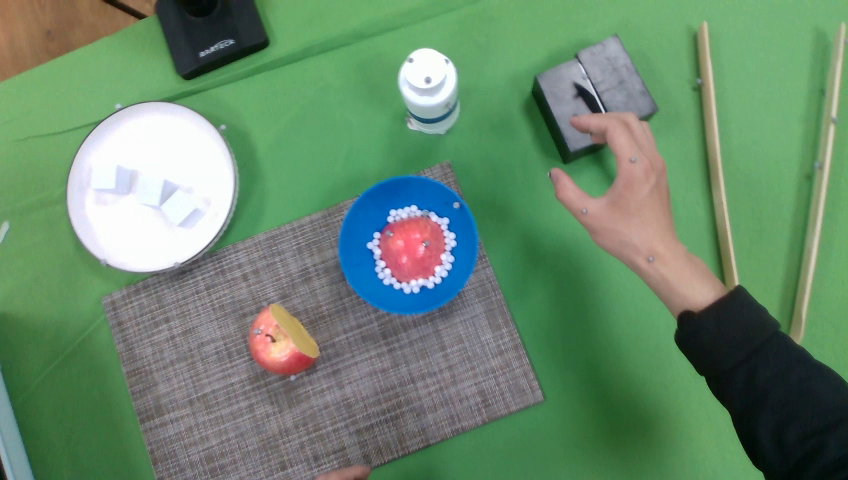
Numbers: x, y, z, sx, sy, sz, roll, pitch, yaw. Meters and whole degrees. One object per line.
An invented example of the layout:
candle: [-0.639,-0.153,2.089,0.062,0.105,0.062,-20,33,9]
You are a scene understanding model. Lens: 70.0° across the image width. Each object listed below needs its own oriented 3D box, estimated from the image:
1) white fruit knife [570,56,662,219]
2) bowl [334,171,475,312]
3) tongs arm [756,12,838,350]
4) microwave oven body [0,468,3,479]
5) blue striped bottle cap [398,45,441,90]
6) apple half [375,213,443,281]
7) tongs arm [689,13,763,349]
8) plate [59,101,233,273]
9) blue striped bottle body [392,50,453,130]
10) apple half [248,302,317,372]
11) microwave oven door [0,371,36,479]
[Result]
white fruit knife: [0.211,-0.110,0.669,0.016,0.027,0.208,-29,99,18]
bowl: [-0.018,0.006,0.673,0.151,0.077,0.151,-1,83,5]
tongs arm: [0.416,-0.067,0.675,0.050,0.026,0.384,7,85,7]
microwave oven body: [-0.604,0.323,0.588,0.326,0.261,0.440,-24,83,0]
blue striped bottle cap: [-0.005,-0.178,0.625,0.044,0.020,0.044,0,85,4]
apple half: [-0.017,0.005,0.668,0.081,0.033,0.081,-1,81,5]
tongs arm: [0.335,-0.071,0.686,0.028,0.028,0.386,-6,83,2]
plate: [-0.328,-0.062,0.729,0.207,0.039,0.207,0,83,4]
blue striped bottle body: [0.000,-0.170,0.675,0.063,0.121,0.063,-1,82,5]
apple half: [-0.163,0.114,0.674,0.053,0.075,0.080,-42,85,2]
microwave oven door: [-0.453,0.302,0.574,0.039,0.244,0.354,-24,82,1]
